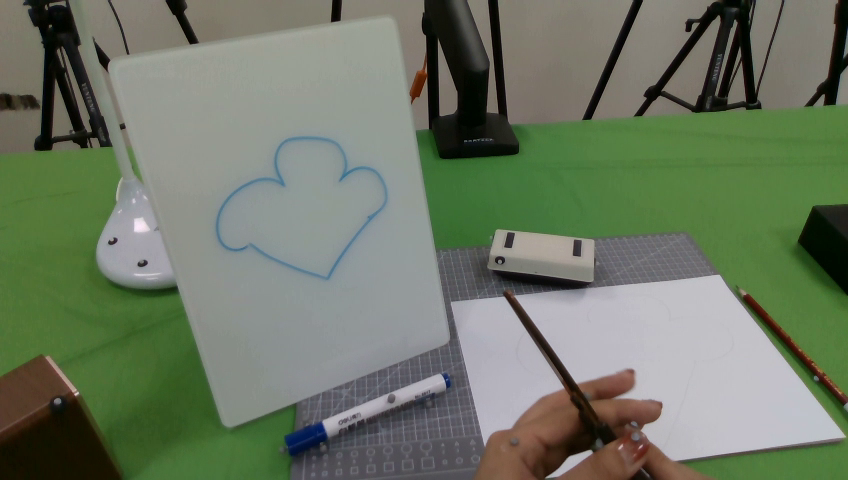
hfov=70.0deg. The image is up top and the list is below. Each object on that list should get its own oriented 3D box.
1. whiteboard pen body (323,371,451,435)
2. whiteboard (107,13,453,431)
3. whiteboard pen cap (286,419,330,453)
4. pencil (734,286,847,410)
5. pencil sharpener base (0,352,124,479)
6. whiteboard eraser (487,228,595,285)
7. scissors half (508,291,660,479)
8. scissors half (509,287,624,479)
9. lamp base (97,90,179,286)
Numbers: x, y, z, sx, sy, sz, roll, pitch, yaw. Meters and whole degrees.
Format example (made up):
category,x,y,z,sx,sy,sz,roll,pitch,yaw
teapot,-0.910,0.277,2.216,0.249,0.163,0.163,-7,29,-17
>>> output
category,x,y,z,sx,sy,sz,roll,pitch,yaw
whiteboard pen body,-0.041,0.141,0.511,0.141,0.017,0.017,-17,40,-20
whiteboard,-0.121,-0.027,0.557,0.218,0.307,0.142,-17,20,-20
whiteboard pen cap,-0.094,0.158,0.491,0.033,0.018,0.018,-18,40,-20
pencil,0.354,0.103,0.575,0.012,0.012,0.192,-8,36,-9
pencil sharpener base,-0.280,0.149,0.439,0.061,0.108,0.076,28,46,33
whiteboard eraser,0.128,0.019,0.660,0.112,0.042,0.055,7,38,10
scissors half,0.093,0.095,0.314,0.013,0.176,0.040,-38,9,-10
scissors half,0.088,0.091,0.333,0.013,0.176,0.039,-36,24,-5
lamp base,-0.305,-0.066,0.668,0.178,0.182,0.160,21,42,30
